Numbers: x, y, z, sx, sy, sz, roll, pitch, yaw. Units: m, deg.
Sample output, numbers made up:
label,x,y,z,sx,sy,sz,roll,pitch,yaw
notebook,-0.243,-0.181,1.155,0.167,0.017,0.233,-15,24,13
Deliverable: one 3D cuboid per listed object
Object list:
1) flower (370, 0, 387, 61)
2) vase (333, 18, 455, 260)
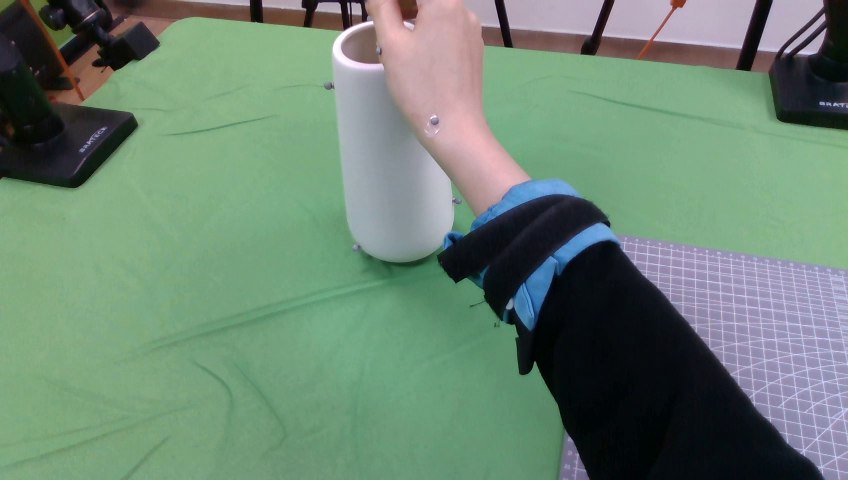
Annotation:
label,x,y,z,sx,sy,sz,roll,pitch,yaw
flower,-0.032,-0.169,0.386,0.044,0.365,0.038,11,52,12
vase,-0.024,-0.075,0.504,0.098,0.202,0.097,-1,47,2
